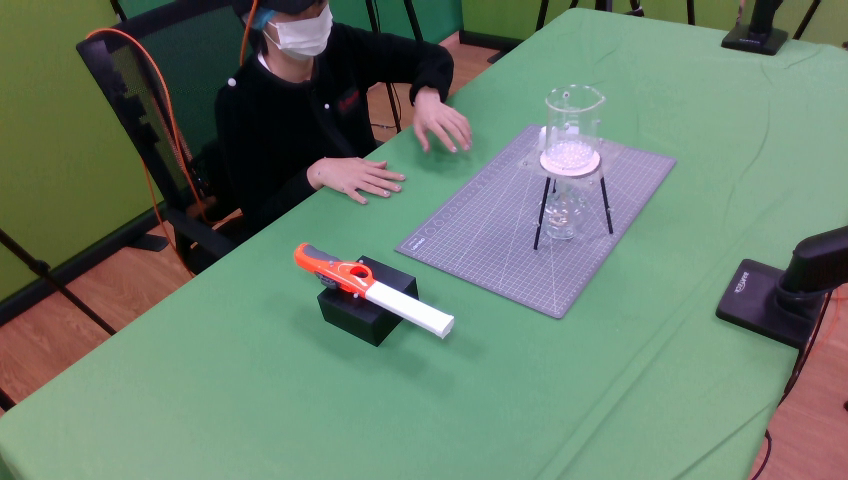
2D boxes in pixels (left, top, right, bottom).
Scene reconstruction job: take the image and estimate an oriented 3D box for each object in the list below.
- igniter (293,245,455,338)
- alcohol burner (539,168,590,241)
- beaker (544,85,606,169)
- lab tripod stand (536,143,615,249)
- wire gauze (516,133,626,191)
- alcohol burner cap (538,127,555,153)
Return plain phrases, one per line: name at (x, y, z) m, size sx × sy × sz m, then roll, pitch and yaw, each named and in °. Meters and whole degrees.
igniter at (-0.079, 0.065, 0.833) m, size 0.274 × 0.025 × 0.057 m, roll 23°, pitch 48°, yaw 27°
alcohol burner at (0.217, -0.059, 0.935) m, size 0.078 × 0.119 × 0.077 m, roll -6°, pitch 40°, yaw 6°
beaker at (0.212, -0.158, 0.861) m, size 0.084 × 0.101 × 0.073 m, roll -3°, pitch 41°, yaw 6°
lab tripod stand at (0.224, -0.069, 0.931) m, size 0.148 × 0.132 × 0.147 m, roll -4°, pitch 42°, yaw 4°
wire gauze at (0.217, -0.122, 0.893) m, size 0.124 × 0.011 × 0.122 m, roll 20°, pitch 47°, yaw 32°
alcohol burner cap at (0.234, -0.191, 1.147) m, size 0.034 × 0.048 × 0.033 m, roll -5°, pitch 40°, yaw 5°
